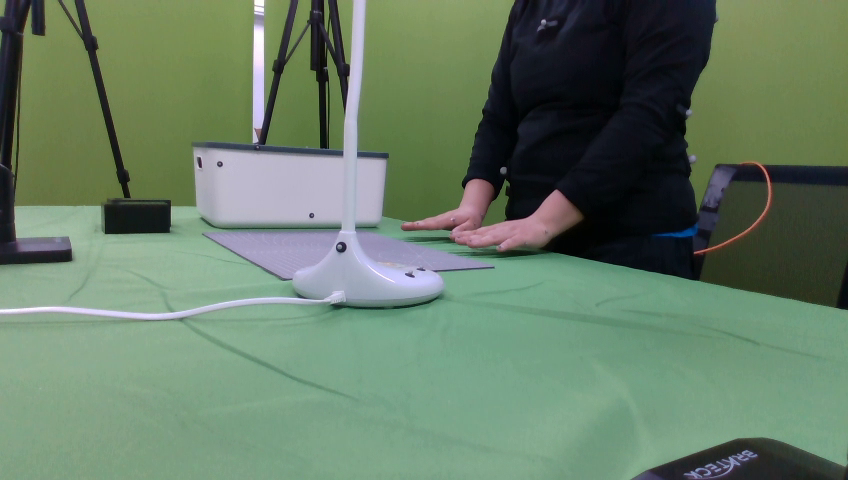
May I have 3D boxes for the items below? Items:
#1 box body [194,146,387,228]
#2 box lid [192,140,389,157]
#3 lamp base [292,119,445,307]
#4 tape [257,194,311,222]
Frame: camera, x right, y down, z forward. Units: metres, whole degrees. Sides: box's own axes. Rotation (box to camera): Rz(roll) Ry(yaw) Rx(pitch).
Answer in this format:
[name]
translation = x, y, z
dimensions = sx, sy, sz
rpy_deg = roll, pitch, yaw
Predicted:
[box body]
translation = -0.288, -0.118, 1.291
dimensions = 0.366, 0.160, 0.253
rpy_deg = -1, 8, -28
[box lid]
translation = -0.287, -0.191, 1.281
dimensions = 0.373, 0.015, 0.262
rpy_deg = 0, 8, -28
[lamp base]
translation = -0.056, -0.030, 0.616
dimensions = 0.160, 0.180, 0.179
rpy_deg = 3, 10, 8
[tape]
translation = -0.301, -0.070, 1.297
dimensions = 0.117, 0.052, 0.117
rpy_deg = 3, 7, 0
